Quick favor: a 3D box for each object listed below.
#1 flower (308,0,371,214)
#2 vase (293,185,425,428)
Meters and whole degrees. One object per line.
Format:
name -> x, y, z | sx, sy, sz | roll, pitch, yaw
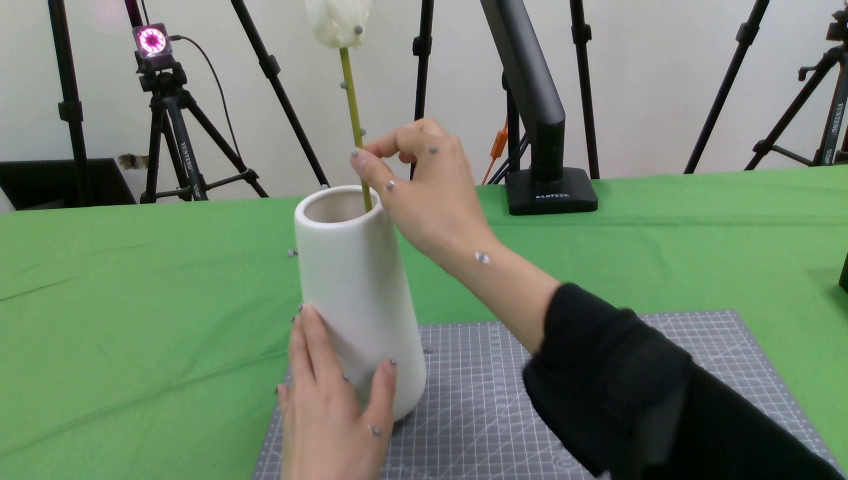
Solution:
flower -> -0.041, -0.019, 0.452 | 0.044, 0.364, 0.038 | -24, 29, -36
vase -> -0.052, 0.058, 0.497 | 0.098, 0.201, 0.097 | -3, 30, 2
